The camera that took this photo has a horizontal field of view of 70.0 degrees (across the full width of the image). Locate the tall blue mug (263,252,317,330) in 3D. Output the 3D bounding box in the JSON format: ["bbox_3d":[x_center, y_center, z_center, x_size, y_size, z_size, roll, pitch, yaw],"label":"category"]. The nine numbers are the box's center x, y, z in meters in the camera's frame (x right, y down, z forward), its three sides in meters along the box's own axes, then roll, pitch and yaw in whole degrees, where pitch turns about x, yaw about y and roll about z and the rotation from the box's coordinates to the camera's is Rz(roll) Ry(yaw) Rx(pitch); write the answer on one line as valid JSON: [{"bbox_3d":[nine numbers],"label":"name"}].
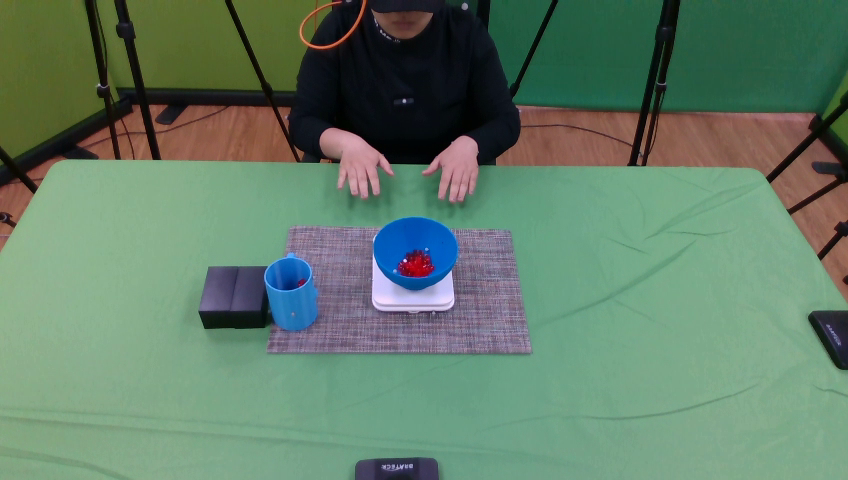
[{"bbox_3d":[-0.233,0.082,1.036,0.078,0.108,0.106,-25,52,-24],"label":"tall blue mug"}]

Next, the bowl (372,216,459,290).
[{"bbox_3d":[-0.015,0.036,1.075,0.151,0.077,0.150,2,46,-1],"label":"bowl"}]

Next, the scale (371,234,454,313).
[{"bbox_3d":[-0.023,0.050,1.134,0.149,0.032,0.199,1,46,-4],"label":"scale"}]
